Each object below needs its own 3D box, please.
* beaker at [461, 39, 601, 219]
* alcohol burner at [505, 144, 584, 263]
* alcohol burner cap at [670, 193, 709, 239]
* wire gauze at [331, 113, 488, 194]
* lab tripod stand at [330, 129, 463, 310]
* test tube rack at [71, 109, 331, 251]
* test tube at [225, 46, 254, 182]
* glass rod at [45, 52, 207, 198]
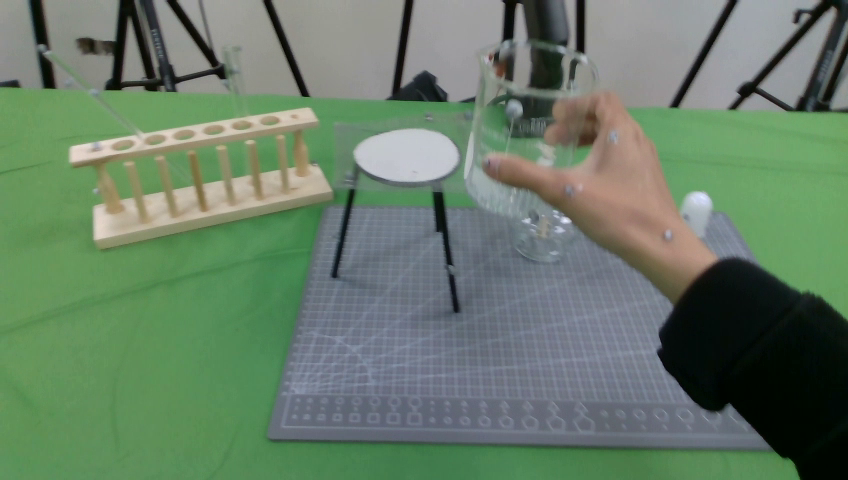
[{"bbox_3d":[0.062,-0.071,0.401,0.083,0.101,0.074,27,45,23],"label":"beaker"},{"bbox_3d":[0.119,-0.038,0.590,0.078,0.120,0.077,0,37,1],"label":"alcohol burner"},{"bbox_3d":[0.283,-0.028,0.641,0.034,0.048,0.033,1,38,0],"label":"alcohol burner cap"},{"bbox_3d":[-0.016,-0.073,0.506,0.125,0.011,0.120,-3,38,-4],"label":"wire gauze"},{"bbox_3d":[-0.017,-0.021,0.548,0.148,0.132,0.147,0,40,0],"label":"lab tripod stand"},{"bbox_3d":[-0.228,-0.068,0.644,0.243,0.086,0.066,-14,41,-19],"label":"test tube rack"},{"bbox_3d":[-0.192,-0.128,0.642,0.017,0.151,0.017,2,36,-1],"label":"test tube"},{"bbox_3d":[-0.286,-0.105,0.598,0.008,0.202,0.008,-18,45,20],"label":"glass rod"}]
